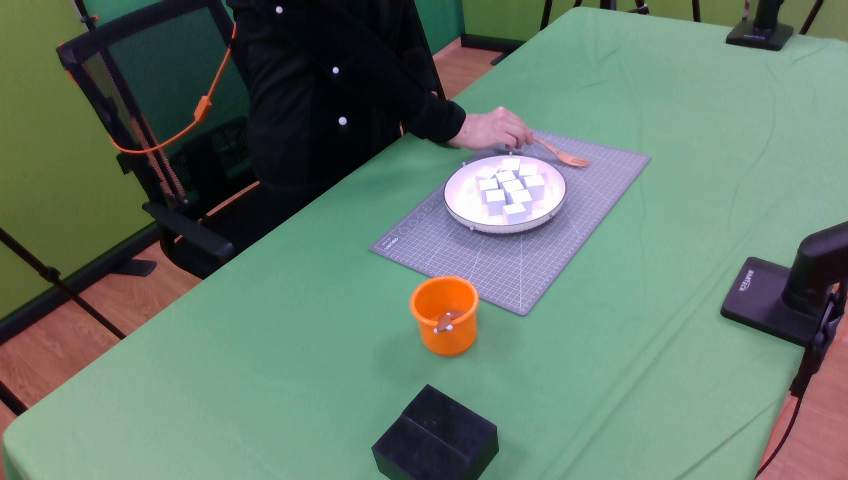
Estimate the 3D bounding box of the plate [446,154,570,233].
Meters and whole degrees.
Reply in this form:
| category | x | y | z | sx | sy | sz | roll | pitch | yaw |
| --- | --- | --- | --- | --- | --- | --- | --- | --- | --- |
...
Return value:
| category | x | y | z | sx | sy | sz | roll | pitch | yaw |
| --- | --- | --- | --- | --- | --- | --- | --- | --- | --- |
| plate | 0.142 | -0.076 | 1.033 | 0.207 | 0.039 | 0.206 | -5 | 40 | 5 |

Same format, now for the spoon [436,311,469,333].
| category | x | y | z | sx | sy | sz | roll | pitch | yaw |
| --- | --- | --- | --- | --- | --- | --- | --- | --- | --- |
| spoon | 0.030 | 0.102 | 0.761 | 0.041 | 0.194 | 0.021 | 2 | 85 | 8 |

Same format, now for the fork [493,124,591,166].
| category | x | y | z | sx | sy | sz | roll | pitch | yaw |
| --- | --- | --- | --- | --- | --- | --- | --- | --- | --- |
| fork | 0.217 | -0.180 | 1.137 | 0.206 | 0.019 | 0.028 | 30 | 51 | 22 |
